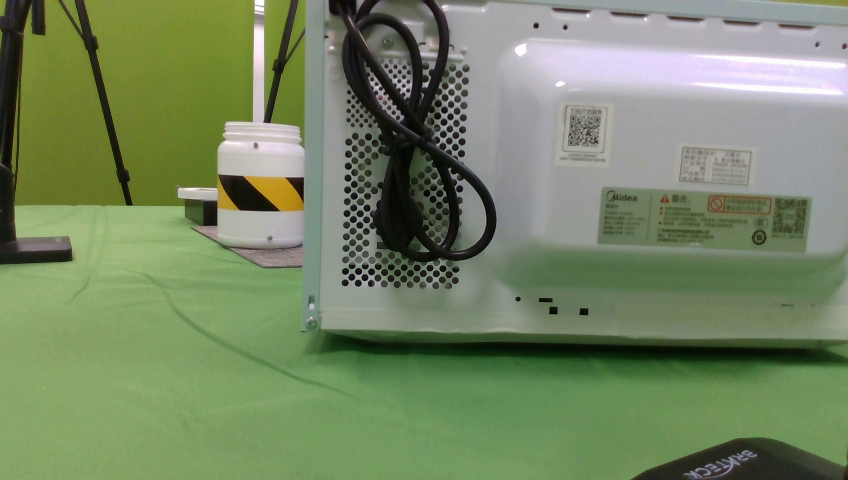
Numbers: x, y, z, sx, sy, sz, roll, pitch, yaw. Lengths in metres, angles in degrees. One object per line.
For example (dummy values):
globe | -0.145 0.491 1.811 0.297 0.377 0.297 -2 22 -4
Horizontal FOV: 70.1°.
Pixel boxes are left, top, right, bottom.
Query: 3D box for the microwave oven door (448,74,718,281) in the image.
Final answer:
microwave oven door | 0.191 -0.091 0.812 0.354 0.243 0.039 8 9 36

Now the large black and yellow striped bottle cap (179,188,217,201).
large black and yellow striped bottle cap | -0.434 -0.093 1.226 0.115 0.019 0.115 3 9 0

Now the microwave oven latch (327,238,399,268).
microwave oven latch | -0.069 0.015 0.694 0.079 0.029 0.030 3 7 -3

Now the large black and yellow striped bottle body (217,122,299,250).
large black and yellow striped bottle body | -0.250 -0.084 0.931 0.131 0.184 0.130 2 7 0

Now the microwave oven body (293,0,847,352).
microwave oven body | 0.122 -0.055 0.550 0.442 0.260 0.325 3 7 -5
